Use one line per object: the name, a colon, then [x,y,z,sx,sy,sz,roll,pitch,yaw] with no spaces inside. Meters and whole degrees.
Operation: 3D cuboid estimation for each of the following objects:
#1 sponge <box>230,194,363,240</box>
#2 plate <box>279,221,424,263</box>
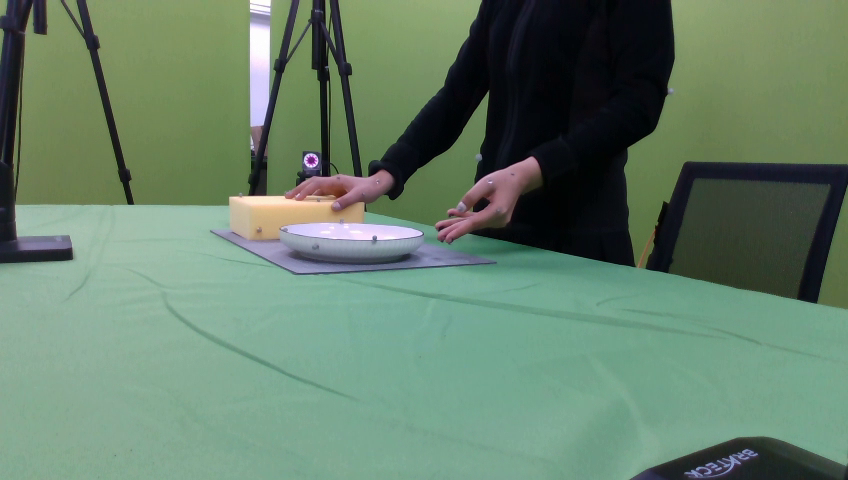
sponge: [-0.224,-0.043,1.068,0.208,0.061,0.117,-4,12,-33]
plate: [-0.103,0.003,0.871,0.209,0.038,0.209,2,7,0]
